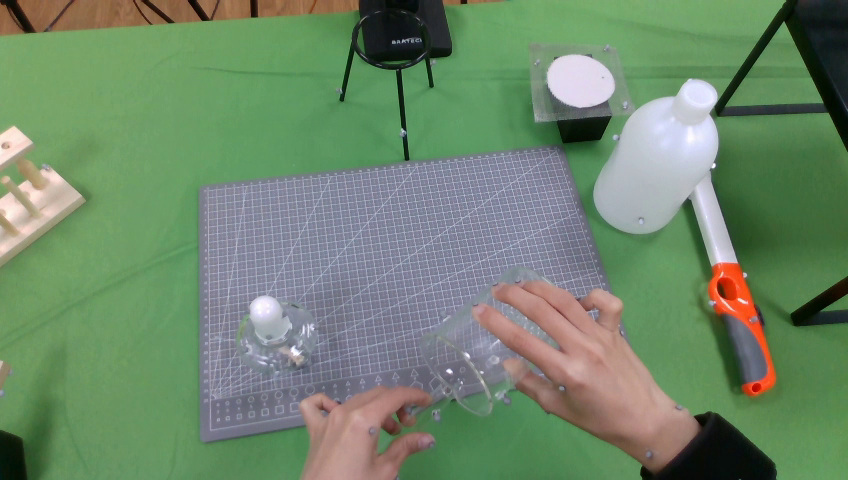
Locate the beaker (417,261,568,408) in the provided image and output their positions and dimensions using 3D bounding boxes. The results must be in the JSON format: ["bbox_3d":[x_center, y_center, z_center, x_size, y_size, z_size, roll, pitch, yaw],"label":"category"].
[{"bbox_3d":[0.055,0.070,0.467,0.100,0.084,0.073,-36,69,-25],"label":"beaker"}]

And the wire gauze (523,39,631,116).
[{"bbox_3d":[0.189,-0.207,0.759,0.121,0.011,0.124,-1,63,-3],"label":"wire gauze"}]

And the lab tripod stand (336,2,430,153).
[{"bbox_3d":[-0.040,-0.200,0.728,0.148,0.132,0.147,2,63,-4],"label":"lab tripod stand"}]

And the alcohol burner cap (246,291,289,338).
[{"bbox_3d":[-0.145,0.066,0.554,0.034,0.048,0.033,0,57,0],"label":"alcohol burner cap"}]

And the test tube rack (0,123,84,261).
[{"bbox_3d":[-0.496,-0.007,0.632,0.066,0.086,0.242,37,67,15],"label":"test tube rack"}]

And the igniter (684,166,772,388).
[{"bbox_3d":[0.339,0.032,0.690,0.057,0.025,0.274,3,62,-13],"label":"igniter"}]

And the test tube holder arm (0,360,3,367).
[{"bbox_3d":[-0.404,0.149,0.543,0.010,0.015,0.087,1,62,8],"label":"test tube holder arm"}]

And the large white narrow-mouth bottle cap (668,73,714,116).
[{"bbox_3d":[0.255,-0.140,0.581,0.038,0.024,0.037,1,62,-2],"label":"large white narrow-mouth bottle cap"}]

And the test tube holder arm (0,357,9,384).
[{"bbox_3d":[-0.402,0.188,0.522,0.013,0.015,0.177,1,62,7],"label":"test tube holder arm"}]

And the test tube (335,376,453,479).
[{"bbox_3d":[-0.029,0.166,0.503,0.150,0.017,0.017,-48,69,19],"label":"test tube"}]

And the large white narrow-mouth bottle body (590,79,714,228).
[{"bbox_3d":[0.252,-0.098,0.657,0.102,0.196,0.101,1,62,-2],"label":"large white narrow-mouth bottle body"}]

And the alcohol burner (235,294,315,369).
[{"bbox_3d":[-0.147,0.082,0.586,0.078,0.120,0.077,2,61,-4],"label":"alcohol burner"}]
